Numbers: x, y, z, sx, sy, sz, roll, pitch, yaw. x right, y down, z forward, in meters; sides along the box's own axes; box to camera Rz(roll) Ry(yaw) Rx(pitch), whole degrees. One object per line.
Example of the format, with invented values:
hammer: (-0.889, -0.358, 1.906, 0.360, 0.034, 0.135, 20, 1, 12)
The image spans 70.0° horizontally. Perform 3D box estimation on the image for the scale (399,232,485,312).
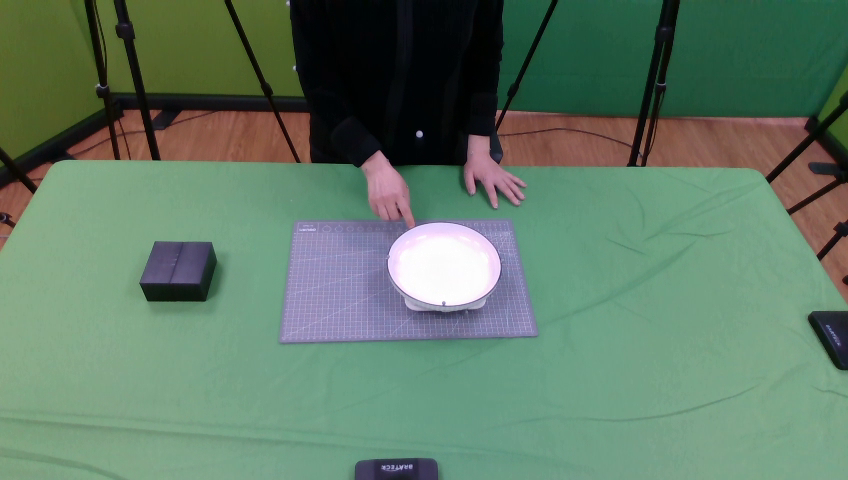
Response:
scale: (0.031, 0.050, 1.141, 0.149, 0.032, 0.199, -1, 46, -5)

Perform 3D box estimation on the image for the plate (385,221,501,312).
plate: (0.034, 0.050, 1.096, 0.209, 0.038, 0.208, 2, 46, -2)
